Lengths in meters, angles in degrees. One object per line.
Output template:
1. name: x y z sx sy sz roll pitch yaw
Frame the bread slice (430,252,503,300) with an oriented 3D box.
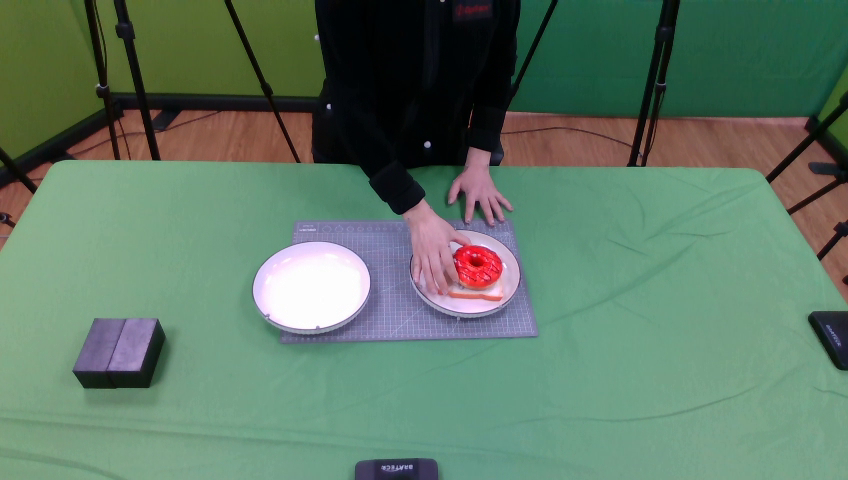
1. bread slice: 0.078 0.067 1.126 0.134 0.018 0.106 0 47 -2

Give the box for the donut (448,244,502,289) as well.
1. donut: 0.093 0.049 1.105 0.099 0.048 0.098 3 45 -3

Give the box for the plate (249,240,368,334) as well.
1. plate: -0.204 0.087 1.084 0.208 0.039 0.206 2 46 -2

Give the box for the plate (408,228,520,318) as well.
1. plate: 0.074 0.063 1.127 0.209 0.038 0.208 2 46 -2
